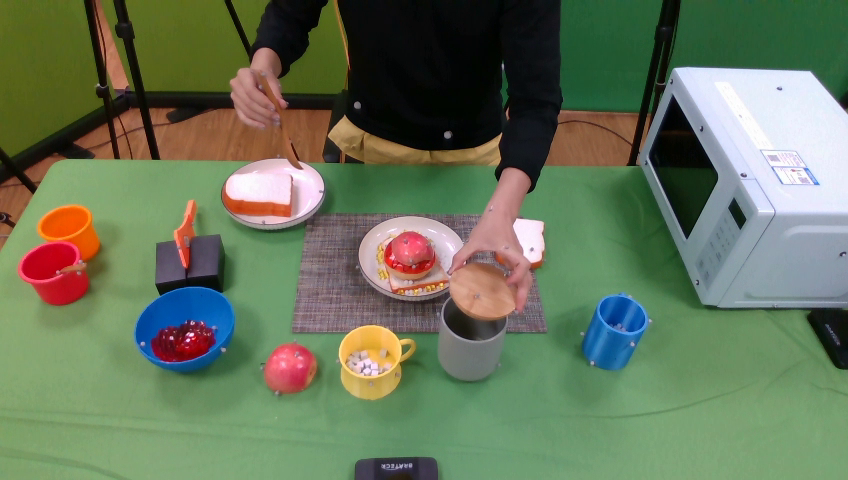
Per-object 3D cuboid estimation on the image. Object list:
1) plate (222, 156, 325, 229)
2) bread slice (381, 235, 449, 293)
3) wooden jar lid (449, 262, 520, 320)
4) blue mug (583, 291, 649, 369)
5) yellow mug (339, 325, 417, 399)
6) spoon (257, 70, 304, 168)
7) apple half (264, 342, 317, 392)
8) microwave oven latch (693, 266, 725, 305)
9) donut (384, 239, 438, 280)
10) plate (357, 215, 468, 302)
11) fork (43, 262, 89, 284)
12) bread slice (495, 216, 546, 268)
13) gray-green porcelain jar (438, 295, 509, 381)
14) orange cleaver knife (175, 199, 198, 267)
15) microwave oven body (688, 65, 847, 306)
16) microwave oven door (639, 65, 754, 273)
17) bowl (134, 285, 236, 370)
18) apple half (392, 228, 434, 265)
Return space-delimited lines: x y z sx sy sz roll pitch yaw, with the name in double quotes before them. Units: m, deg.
"plate" -0.308 -0.095 1.251 0.209 0.038 0.208 2 47 -2
"bread slice" -0.026 0.039 1.140 0.107 0.018 0.133 -12 49 -16
"wooden jar lid" 0.089 0.077 0.904 0.108 0.021 0.107 9 44 -9
"blue mug" 0.324 0.142 1.023 0.082 0.106 0.116 15 47 11
"yellow mug" -0.072 0.190 0.978 0.131 0.064 0.099 -17 49 -20
"spoon" -0.231 -0.190 0.978 0.021 0.195 0.041 -33 49 -22
"apple half" -0.214 0.198 0.970 0.074 0.053 0.080 19 48 10
"microwave oven latch" 0.523 0.082 1.115 0.030 0.029 0.078 3 46 0
"donut" -0.025 0.029 1.109 0.099 0.048 0.098 2 46 -2
"plate" -0.022 0.037 1.141 0.208 0.039 0.206 2 46 -2
"fork" -0.599 0.053 1.013 0.207 0.019 0.028 -14 31 45
"bread slice" 0.194 0.002 1.205 0.105 0.019 0.131 5 45 2
"gray-green porcelain jar" 0.076 0.158 0.978 0.106 0.127 0.105 2 47 -2
"orange cleaver knife" -0.438 -0.017 1.138 0.012 0.077 0.210 -14 27 -6
"microwave oven body" 0.669 -0.111 1.176 0.326 0.261 0.439 0 46 -3
"microwave oven door" 0.522 -0.147 1.193 0.039 0.245 0.353 0 47 -3
"bowl" -0.377 0.155 0.981 0.151 0.077 0.150 2 46 -2
"apple half" -0.020 0.004 1.083 0.081 0.033 0.081 6 49 -7
